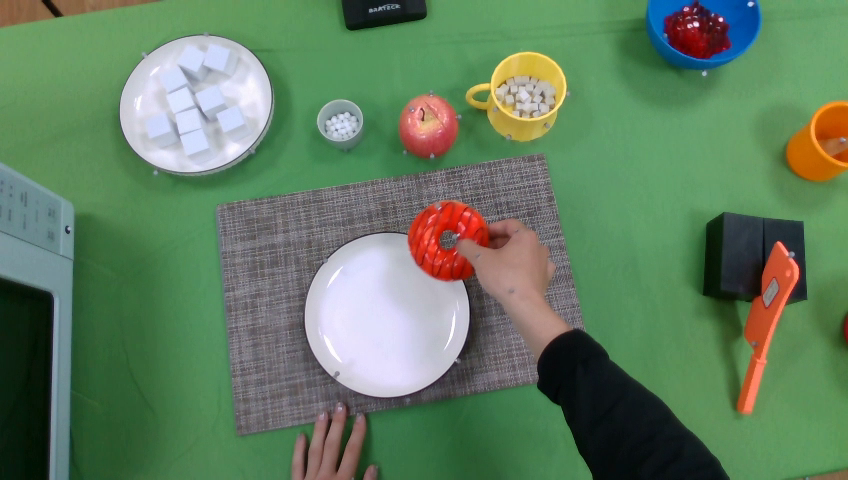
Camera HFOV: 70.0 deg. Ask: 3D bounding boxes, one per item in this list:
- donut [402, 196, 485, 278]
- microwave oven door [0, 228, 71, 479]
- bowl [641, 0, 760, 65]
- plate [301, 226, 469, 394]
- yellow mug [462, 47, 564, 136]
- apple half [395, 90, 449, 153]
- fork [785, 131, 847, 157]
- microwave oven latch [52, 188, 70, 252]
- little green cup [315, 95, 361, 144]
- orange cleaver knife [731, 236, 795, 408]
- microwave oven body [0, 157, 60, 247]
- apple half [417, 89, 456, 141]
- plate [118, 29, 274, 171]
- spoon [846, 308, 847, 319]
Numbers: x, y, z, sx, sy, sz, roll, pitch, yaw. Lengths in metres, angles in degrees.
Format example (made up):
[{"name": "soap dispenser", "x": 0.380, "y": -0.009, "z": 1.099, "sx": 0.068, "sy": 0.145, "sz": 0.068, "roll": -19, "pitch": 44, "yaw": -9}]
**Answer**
[{"name": "donut", "x": 0.024, "y": -0.003, "z": 0.721, "sx": 0.099, "sy": 0.048, "sz": 0.099, "roll": 0, "pitch": 95, "yaw": 5}, {"name": "microwave oven door", "x": -0.450, "y": 0.161, "z": 0.624, "sx": 0.039, "sy": 0.245, "sz": 0.354, "roll": -7, "pitch": 76, "yaw": -1}, {"name": "bowl", "x": 0.367, "y": -0.299, "z": 0.836, "sx": 0.151, "sy": 0.077, "sz": 0.150, "roll": 0, "pitch": 77, "yaw": 1}, {"name": "plate", "x": -0.048, "y": 0.086, "z": 0.761, "sx": 0.209, "sy": 0.038, "sz": 0.208, "roll": 0, "pitch": 77, "yaw": 1}, {"name": "yellow mug", "x": 0.117, "y": -0.200, "z": 0.819, "sx": 0.131, "sy": 0.064, "sz": 0.099, "roll": 1, "pitch": 76, "yaw": 1}, {"name": "apple half", "x": -0.009, "y": -0.149, "z": 0.804, "sx": 0.053, "sy": 0.075, "sz": 0.080, "roll": -36, "pitch": 82, "yaw": -4}, {"name": "fork", "x": 0.570, "y": -0.139, "z": 0.760, "sx": 0.206, "sy": 0.019, "sz": 0.028, "roll": -14, "pitch": 68, "yaw": 42}, {"name": "microwave oven latch", "x": -0.472, "y": -0.025, "z": 0.773, "sx": 0.030, "sy": 0.029, "sz": 0.079, "roll": -5, "pitch": 77, "yaw": -1}, {"name": "little green cup", "x": -0.115, "y": -0.162, "z": 0.825, "sx": 0.061, "sy": 0.039, "sz": 0.061, "roll": 0, "pitch": 76, "yaw": 1}, {"name": "orange cleaver knife", "x": 0.403, "y": 0.101, "z": 0.734, "sx": 0.012, "sy": 0.077, "sz": 0.212, "roll": 9, "pitch": 109, "yaw": 5}, {"name": "microwave oven body", "x": -0.600, "y": 0.138, "z": 0.635, "sx": 0.326, "sy": 0.261, "sz": 0.439, "roll": -6, "pitch": 77, "yaw": -2}, {"name": "apple half", "x": 0.023, "y": -0.171, "z": 0.808, "sx": 0.033, "sy": 0.081, "sz": 0.081, "roll": -36, "pitch": 78, "yaw": -4}, {"name": "plate", "x": -0.307, "y": -0.189, "z": 0.832, "sx": 0.208, "sy": 0.039, "sz": 0.206, "roll": 0, "pitch": 76, "yaw": 0}, {"name": "spoon", "x": 0.598, "y": 0.117, "z": 0.701, "sx": 0.041, "sy": 0.022, "sz": 0.192, "roll": -47, "pitch": 36, "yaw": -14}]
